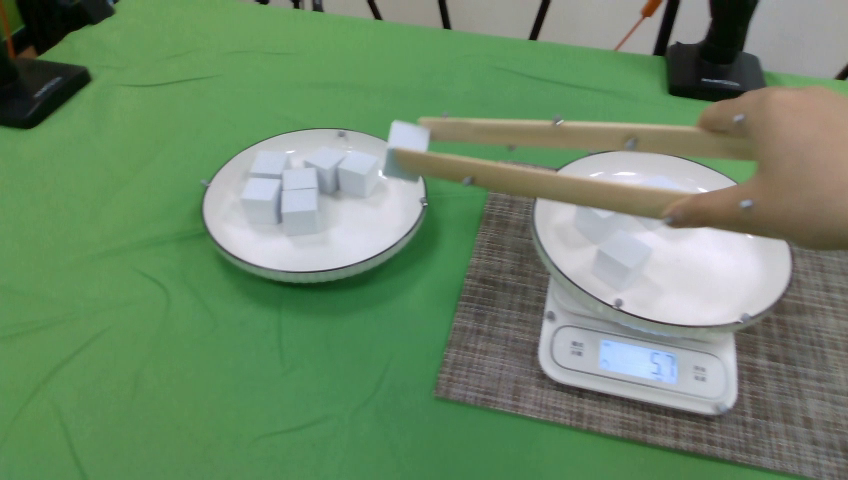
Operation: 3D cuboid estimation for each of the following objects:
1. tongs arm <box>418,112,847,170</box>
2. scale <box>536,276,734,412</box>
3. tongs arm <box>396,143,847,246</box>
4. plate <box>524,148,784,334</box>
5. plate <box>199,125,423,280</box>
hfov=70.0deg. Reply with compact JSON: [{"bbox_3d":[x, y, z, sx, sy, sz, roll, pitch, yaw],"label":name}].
[{"bbox_3d":[0.153,-0.051,0.379,0.382,0.027,0.050,9,54,30],"label":"tongs arm"},{"bbox_3d":[0.180,0.041,0.515,0.148,0.032,0.199,11,47,9],"label":"scale"},{"bbox_3d":[0.141,-0.031,0.367,0.384,0.028,0.028,13,52,32],"label":"tongs arm"},{"bbox_3d":[0.187,-0.002,0.512,0.208,0.039,0.205,2,46,-1],"label":"plate"},{"bbox_3d":[-0.104,-0.036,0.583,0.209,0.038,0.207,1,46,-1],"label":"plate"}]
